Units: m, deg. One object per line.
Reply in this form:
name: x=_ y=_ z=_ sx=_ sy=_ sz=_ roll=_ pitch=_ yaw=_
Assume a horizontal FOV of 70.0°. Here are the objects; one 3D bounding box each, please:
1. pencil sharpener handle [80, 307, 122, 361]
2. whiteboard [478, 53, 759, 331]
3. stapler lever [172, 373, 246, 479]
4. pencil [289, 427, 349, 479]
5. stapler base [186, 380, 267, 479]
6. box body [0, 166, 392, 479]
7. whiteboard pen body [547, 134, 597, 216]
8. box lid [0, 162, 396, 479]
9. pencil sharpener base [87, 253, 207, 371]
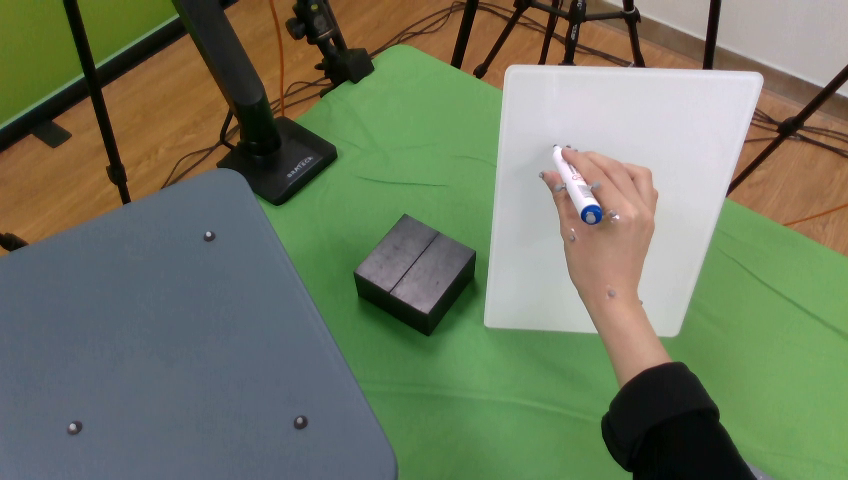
pencil sharpener handle: x=-0.324 y=0.097 z=0.597 sx=0.030 sy=0.068 sz=0.035 roll=-34 pitch=61 yaw=-19
whiteboard: x=0.176 y=-0.066 z=0.646 sx=0.217 sy=0.308 sz=0.142 roll=3 pitch=36 yaw=3
stapler lever: x=-0.205 y=0.182 z=0.571 sx=0.026 sy=0.040 sz=0.117 roll=4 pitch=56 yaw=26
pencil: x=-0.141 y=0.244 z=0.567 sx=0.012 sy=0.012 sz=0.194 roll=35 pitch=52 yaw=23
stapler base: x=-0.198 y=0.195 z=0.590 sx=0.041 sy=0.025 sz=0.129 roll=4 pitch=57 yaw=26
box body: x=-0.213 y=0.140 z=0.555 sx=0.254 sy=0.162 sz=0.360 roll=-27 pitch=59 yaw=-17
whiteboard pen body: x=0.115 y=-0.058 z=0.488 sx=0.017 sy=0.017 sz=0.139 roll=-2 pitch=31 yaw=-1
box lid: x=-0.215 y=0.097 z=0.495 sx=0.263 sy=0.015 sz=0.367 roll=-26 pitch=60 yaw=-17
pencil sharpener base: x=-0.284 y=0.077 z=0.624 sx=0.076 sy=0.108 sz=0.061 roll=-34 pitch=61 yaw=-19
